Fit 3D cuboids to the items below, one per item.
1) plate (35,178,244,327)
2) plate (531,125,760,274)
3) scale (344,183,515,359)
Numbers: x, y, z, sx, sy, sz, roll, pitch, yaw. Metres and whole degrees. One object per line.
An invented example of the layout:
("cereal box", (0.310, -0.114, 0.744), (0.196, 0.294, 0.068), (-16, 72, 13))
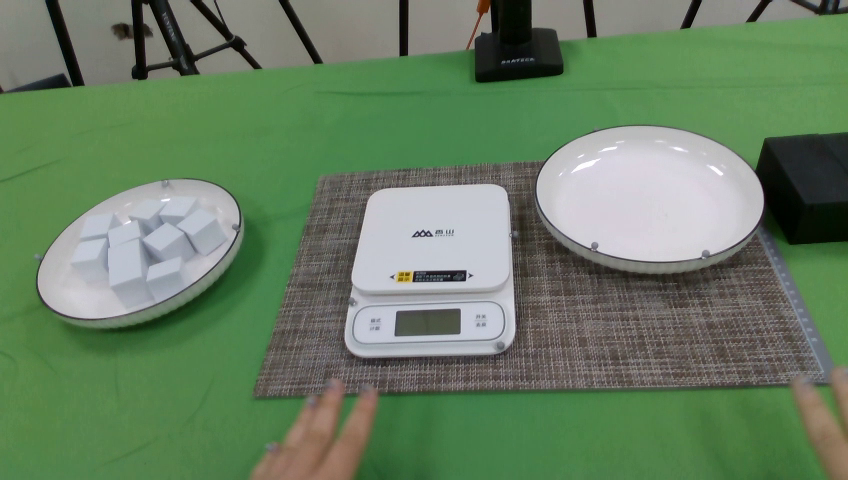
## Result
("plate", (-0.288, 0.013, 0.633), (0.209, 0.038, 0.207), (-5, 43, 5))
("plate", (0.210, -0.039, 0.592), (0.207, 0.039, 0.205), (-5, 44, 5))
("scale", (0.008, 0.021, 0.569), (0.148, 0.032, 0.199), (-3, 44, 8))
